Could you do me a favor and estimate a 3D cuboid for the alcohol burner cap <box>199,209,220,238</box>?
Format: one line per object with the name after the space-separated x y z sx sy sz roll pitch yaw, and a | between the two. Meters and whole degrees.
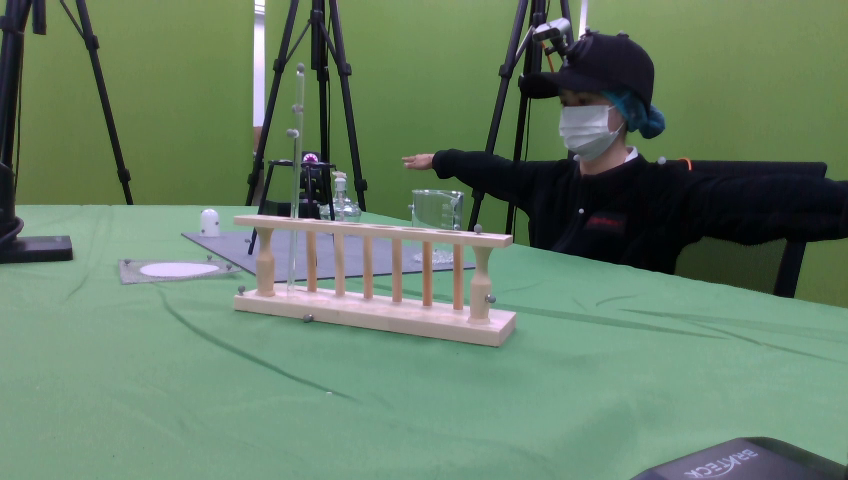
-0.356 -0.027 1.002 0.034 0.048 0.034 2 7 0 | alcohol burner cap

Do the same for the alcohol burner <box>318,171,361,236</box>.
-0.155 -0.067 1.104 0.078 0.119 0.078 1 8 0 | alcohol burner

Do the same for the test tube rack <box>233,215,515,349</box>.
-0.045 0.029 0.526 0.241 0.085 0.067 5 8 19 | test tube rack

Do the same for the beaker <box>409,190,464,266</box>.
0.018 -0.018 0.840 0.074 0.100 0.083 -3 10 -35 | beaker

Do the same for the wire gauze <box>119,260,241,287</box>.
-0.288 0.034 0.706 0.122 0.011 0.124 -3 10 -29 | wire gauze

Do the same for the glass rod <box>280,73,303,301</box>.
-0.114 -0.040 0.516 0.008 0.199 0.008 7 14 -2 | glass rod

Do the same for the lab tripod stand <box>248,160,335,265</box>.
-0.165 -0.041 0.817 0.148 0.131 0.148 5 7 0 | lab tripod stand
